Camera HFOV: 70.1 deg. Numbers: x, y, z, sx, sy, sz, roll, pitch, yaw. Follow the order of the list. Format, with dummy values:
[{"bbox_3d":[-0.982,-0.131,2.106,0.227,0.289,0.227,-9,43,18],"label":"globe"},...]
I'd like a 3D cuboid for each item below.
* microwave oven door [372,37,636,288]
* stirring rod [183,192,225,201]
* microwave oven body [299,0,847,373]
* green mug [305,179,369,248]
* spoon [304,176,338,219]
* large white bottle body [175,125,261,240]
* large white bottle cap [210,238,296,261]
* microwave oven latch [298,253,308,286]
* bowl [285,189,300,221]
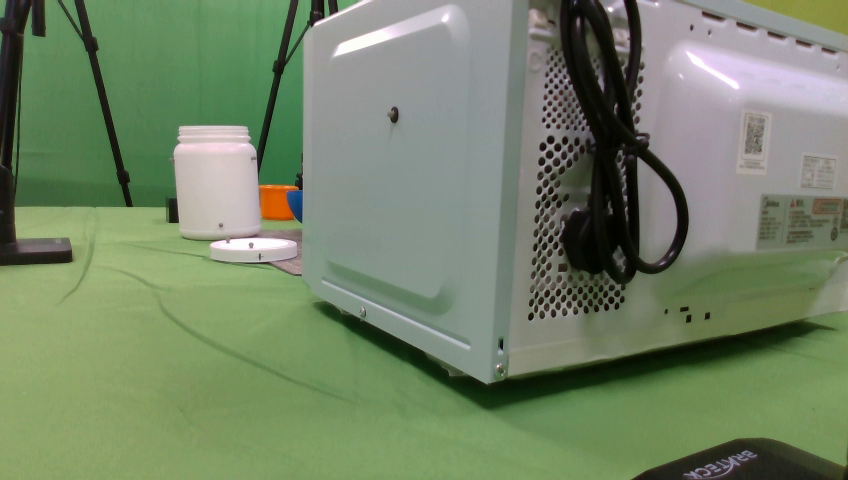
[{"bbox_3d":[0.110,-0.080,0.686,0.358,0.243,0.039,-2,9,-33],"label":"microwave oven door"},{"bbox_3d":[-0.473,-0.094,1.293,0.175,0.006,0.014,11,7,44],"label":"stirring rod"},{"bbox_3d":[0.152,-0.055,0.542,0.444,0.260,0.324,-2,7,-33],"label":"microwave oven body"},{"bbox_3d":[-0.133,-0.044,0.977,0.092,0.105,0.126,6,8,31],"label":"green mug"},{"bbox_3d":[-0.201,-0.084,1.146,0.042,0.021,0.193,2,30,-24],"label":"spoon"},{"bbox_3d":[-0.349,-0.100,1.025,0.131,0.184,0.130,-1,9,0],"label":"large white bottle body"},{"bbox_3d":[-0.236,0.012,0.839,0.115,0.018,0.115,1,7,0],"label":"large white bottle cap"},{"bbox_3d":[-0.081,0.027,0.582,0.079,0.029,0.030,-1,7,-32],"label":"microwave oven latch"},{"bbox_3d":[-0.180,-0.050,1.113,0.151,0.077,0.151,3,8,0],"label":"bowl"}]
